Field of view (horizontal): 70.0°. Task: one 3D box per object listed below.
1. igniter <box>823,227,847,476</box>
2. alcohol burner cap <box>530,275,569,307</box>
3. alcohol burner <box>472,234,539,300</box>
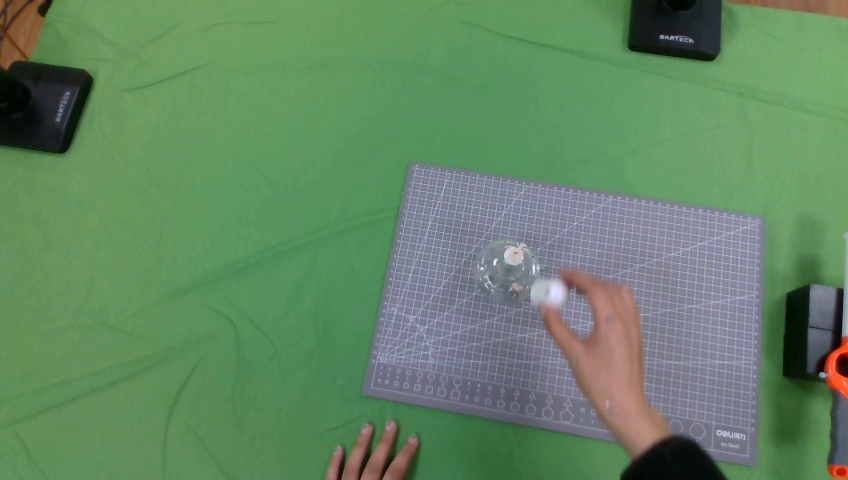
[{"bbox_3d":[0.462,0.114,0.652,0.057,0.025,0.275,13,73,8],"label":"igniter"},{"bbox_3d":[0.129,0.052,0.610,0.034,0.048,0.034,0,85,-5],"label":"alcohol burner cap"},{"bbox_3d":[0.094,0.026,0.683,0.078,0.119,0.077,0,73,-1],"label":"alcohol burner"}]
